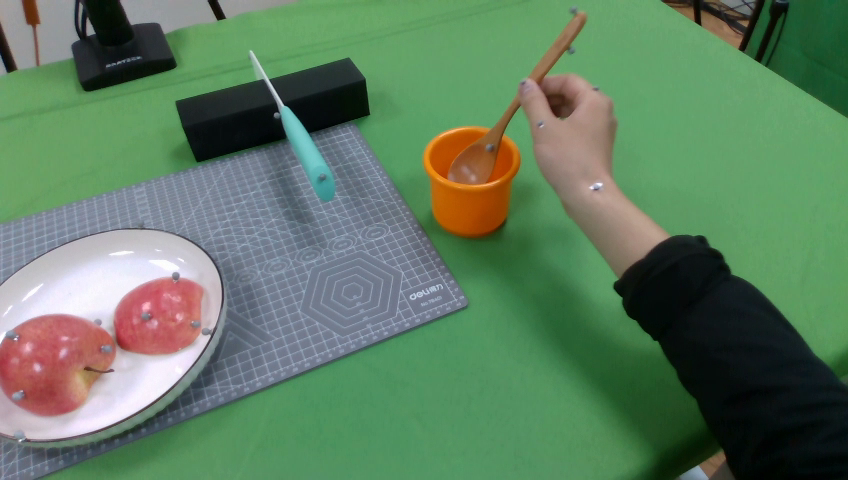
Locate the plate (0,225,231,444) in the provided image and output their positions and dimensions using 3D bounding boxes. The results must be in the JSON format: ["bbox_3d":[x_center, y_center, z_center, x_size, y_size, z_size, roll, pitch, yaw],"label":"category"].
[{"bbox_3d":[-0.264,0.074,0.505,0.209,0.038,0.207,-1,49,1],"label":"plate"}]

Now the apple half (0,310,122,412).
[{"bbox_3d":[-0.289,0.086,0.474,0.074,0.054,0.080,14,51,17],"label":"apple half"}]

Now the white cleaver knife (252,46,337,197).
[{"bbox_3d":[-0.145,-0.132,0.665,0.021,0.066,0.283,-23,48,-11],"label":"white cleaver knife"}]

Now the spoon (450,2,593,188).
[{"bbox_3d":[0.084,-0.123,0.536,0.041,0.194,0.022,49,34,20],"label":"spoon"}]

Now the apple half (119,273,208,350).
[{"bbox_3d":[-0.223,0.055,0.512,0.081,0.033,0.080,0,51,0],"label":"apple half"}]
